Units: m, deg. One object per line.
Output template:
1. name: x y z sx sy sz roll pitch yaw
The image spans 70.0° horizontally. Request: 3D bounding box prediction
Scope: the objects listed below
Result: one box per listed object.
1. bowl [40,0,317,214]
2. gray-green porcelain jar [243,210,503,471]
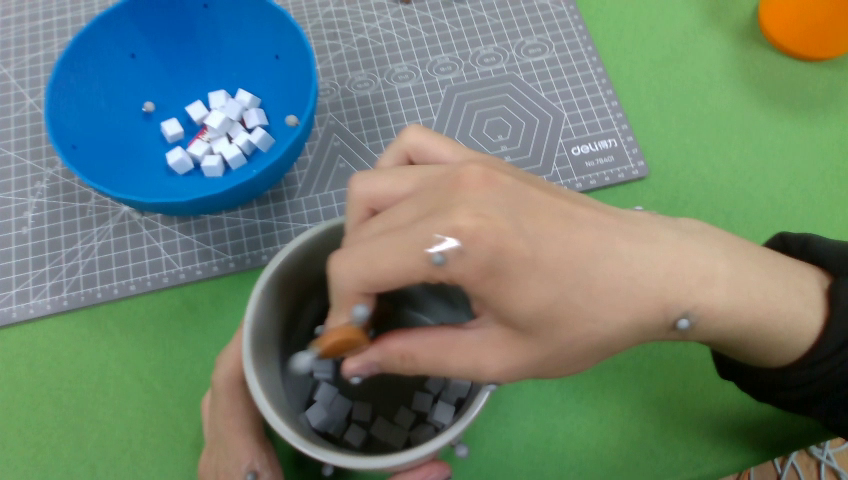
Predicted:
1. bowl: -0.136 -0.074 0.371 0.151 0.077 0.150 1 68 -1
2. gray-green porcelain jar: -0.020 0.058 0.300 0.106 0.127 0.105 0 68 0
